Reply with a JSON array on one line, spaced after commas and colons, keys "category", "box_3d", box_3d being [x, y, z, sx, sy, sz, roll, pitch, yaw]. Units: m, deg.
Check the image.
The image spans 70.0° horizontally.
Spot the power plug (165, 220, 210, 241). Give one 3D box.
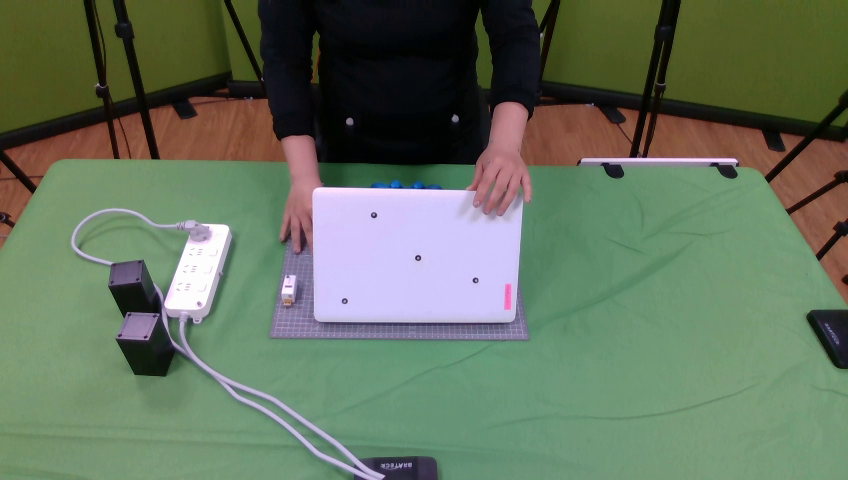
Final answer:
[{"category": "power plug", "box_3d": [-0.440, -0.015, 1.143, 0.072, 0.053, 0.035, 7, 46, 9]}]

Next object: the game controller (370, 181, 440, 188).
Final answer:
[{"category": "game controller", "box_3d": [-0.039, -0.092, 1.268, 0.155, 0.052, 0.096, 2, 50, -2]}]

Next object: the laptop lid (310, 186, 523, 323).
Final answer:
[{"category": "laptop lid", "box_3d": [-0.013, 0.029, 1.022, 0.357, 0.242, 0.013, 2, 12, -4]}]

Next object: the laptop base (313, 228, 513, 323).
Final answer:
[{"category": "laptop base", "box_3d": [-0.020, 0.064, 1.136, 0.355, 0.023, 0.234, 0, 43, -4]}]

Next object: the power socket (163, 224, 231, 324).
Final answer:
[{"category": "power socket", "box_3d": [-0.411, 0.052, 1.107, 0.072, 0.033, 0.225, 3, 46, -3]}]

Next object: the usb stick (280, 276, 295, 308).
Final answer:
[{"category": "usb stick", "box_3d": [-0.244, 0.093, 1.080, 0.021, 0.027, 0.059, 4, 47, -5]}]
